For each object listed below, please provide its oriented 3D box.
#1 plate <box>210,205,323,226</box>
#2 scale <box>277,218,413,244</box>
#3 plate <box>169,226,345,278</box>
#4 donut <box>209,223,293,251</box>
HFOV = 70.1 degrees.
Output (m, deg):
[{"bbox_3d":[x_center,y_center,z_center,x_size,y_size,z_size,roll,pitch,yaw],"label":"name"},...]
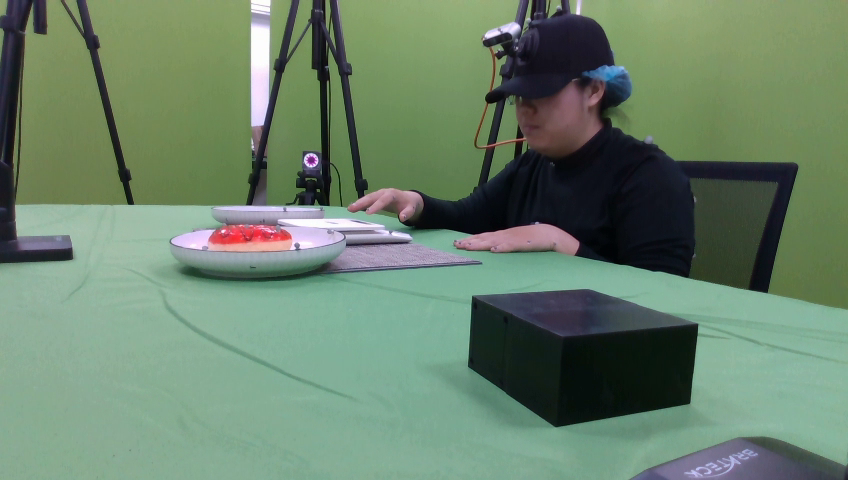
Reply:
[{"bbox_3d":[-0.298,-0.043,1.152,0.208,0.039,0.207,2,5,0],"label":"plate"},{"bbox_3d":[-0.134,-0.015,1.015,0.202,0.031,0.148,-1,9,-33],"label":"scale"},{"bbox_3d":[-0.202,0.014,0.748,0.209,0.038,0.209,1,9,0],"label":"plate"},{"bbox_3d":[-0.210,0.004,0.738,0.099,0.048,0.099,0,8,0],"label":"donut"}]
